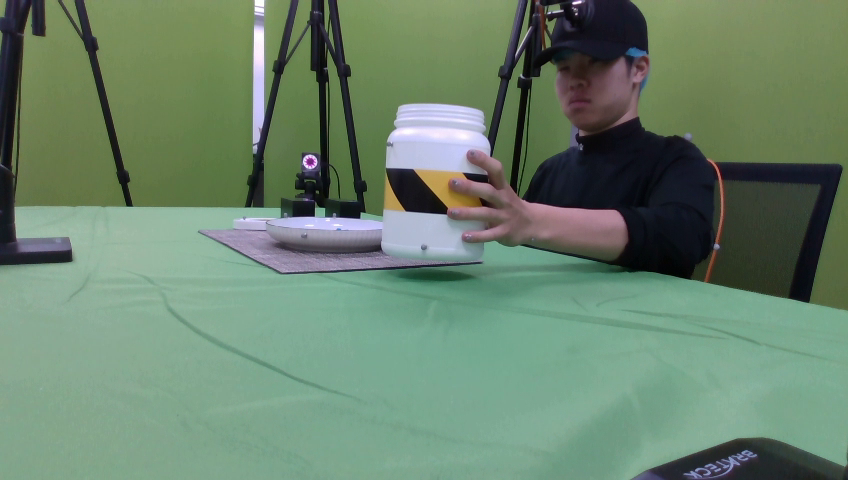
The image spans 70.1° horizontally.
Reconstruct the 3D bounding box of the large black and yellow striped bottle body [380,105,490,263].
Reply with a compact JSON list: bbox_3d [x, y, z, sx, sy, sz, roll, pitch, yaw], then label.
[{"bbox_3d":[0.014,-0.069,0.757,0.131,0.184,0.130,4,4,0],"label":"large black and yellow striped bottle body"}]

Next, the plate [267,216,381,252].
[{"bbox_3d":[-0.145,-0.010,0.967,0.208,0.039,0.207,2,7,0],"label":"plate"}]

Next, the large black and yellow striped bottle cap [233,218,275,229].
[{"bbox_3d":[-0.311,-0.032,1.172,0.115,0.019,0.115,1,4,0],"label":"large black and yellow striped bottle cap"}]
